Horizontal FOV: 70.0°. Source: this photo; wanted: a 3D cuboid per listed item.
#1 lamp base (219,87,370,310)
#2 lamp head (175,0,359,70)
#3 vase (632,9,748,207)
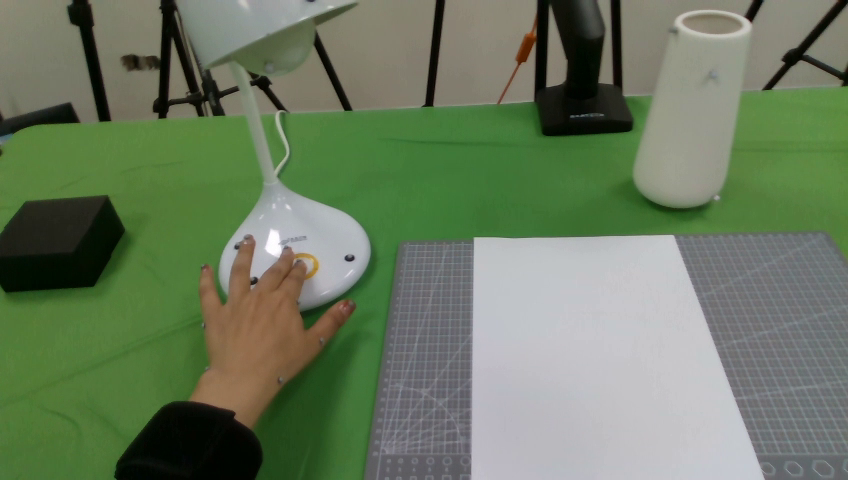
[{"bbox_3d":[-0.150,-0.050,0.608,0.161,0.182,0.177,-22,41,-19],"label":"lamp base"},{"bbox_3d":[-0.117,-0.184,0.385,0.112,0.123,0.112,-24,14,7],"label":"lamp head"},{"bbox_3d":[0.280,-0.134,0.643,0.098,0.202,0.097,-4,39,4],"label":"vase"}]
